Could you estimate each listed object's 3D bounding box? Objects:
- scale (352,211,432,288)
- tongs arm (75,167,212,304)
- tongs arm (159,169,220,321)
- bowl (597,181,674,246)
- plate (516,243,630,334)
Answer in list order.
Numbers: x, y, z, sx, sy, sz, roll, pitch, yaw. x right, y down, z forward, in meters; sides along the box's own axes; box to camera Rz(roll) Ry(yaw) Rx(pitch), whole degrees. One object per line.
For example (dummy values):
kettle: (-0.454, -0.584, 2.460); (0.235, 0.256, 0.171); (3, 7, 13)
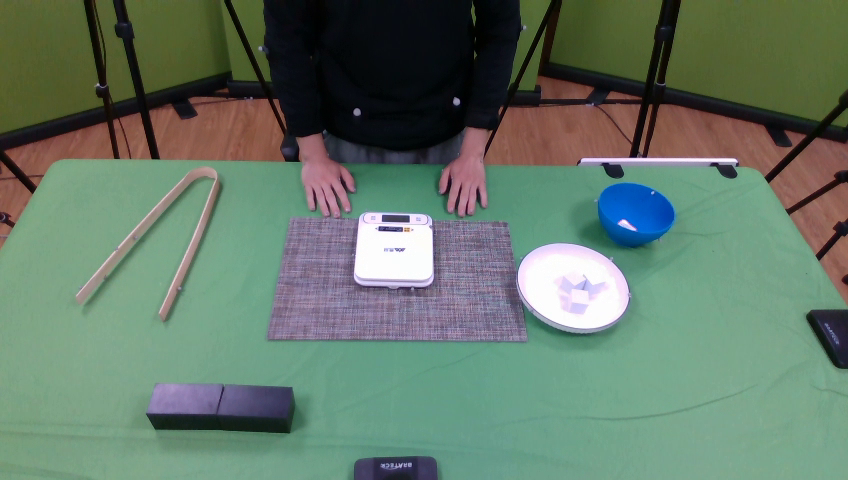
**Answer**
scale: (-0.060, 0.010, 1.171); (0.149, 0.032, 0.199); (2, 46, -3)
tongs arm: (-0.525, -0.021, 1.167); (0.051, 0.026, 0.383); (13, 46, 7)
tongs arm: (-0.446, -0.005, 1.164); (0.028, 0.028, 0.385); (1, 46, 0)
bowl: (0.418, -0.042, 1.230); (0.151, 0.077, 0.150); (2, 46, -2)
plate: (0.272, 0.092, 1.120); (0.208, 0.039, 0.206); (2, 46, -2)
